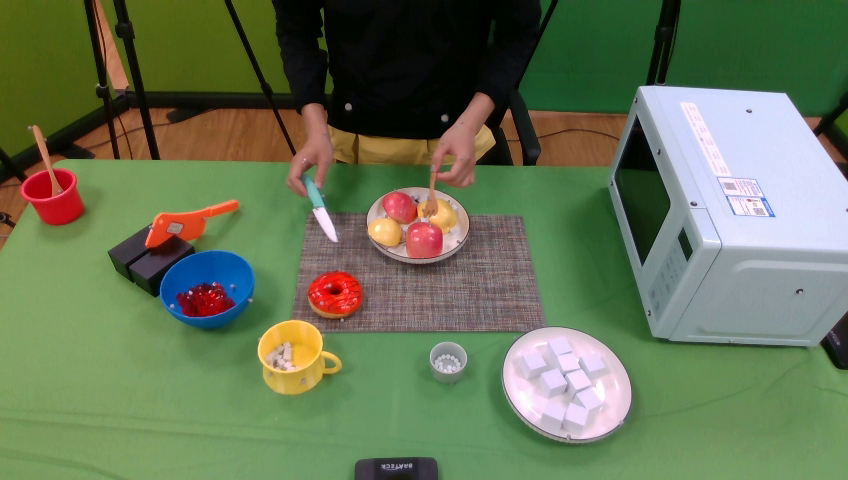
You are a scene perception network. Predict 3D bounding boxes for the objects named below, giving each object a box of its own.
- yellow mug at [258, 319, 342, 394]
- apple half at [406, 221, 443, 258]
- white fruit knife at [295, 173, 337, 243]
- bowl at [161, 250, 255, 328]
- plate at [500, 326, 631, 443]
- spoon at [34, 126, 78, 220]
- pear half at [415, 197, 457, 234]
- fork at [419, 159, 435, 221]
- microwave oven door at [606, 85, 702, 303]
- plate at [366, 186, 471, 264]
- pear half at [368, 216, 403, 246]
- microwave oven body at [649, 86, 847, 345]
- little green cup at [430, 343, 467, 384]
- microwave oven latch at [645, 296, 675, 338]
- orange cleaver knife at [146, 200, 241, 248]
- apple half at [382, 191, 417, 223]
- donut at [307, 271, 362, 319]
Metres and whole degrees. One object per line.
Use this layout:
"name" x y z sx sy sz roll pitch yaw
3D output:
"yellow mug" -0.196 0.189 0.972 0.131 0.064 0.099 9 46 3
"apple half" 0.001 -0.006 1.164 0.075 0.053 0.080 5 42 0
"white fruit knife" -0.203 -0.063 1.152 0.027 0.016 0.206 -30 52 -3
"bowl" -0.362 0.097 1.040 0.151 0.077 0.150 2 45 -2
"plate" 0.224 0.233 0.978 0.208 0.039 0.206 2 46 -2
"spoon" -0.726 -0.132 1.188 0.041 0.021 0.194 -18 95 -20
"pear half" 0.017 -0.065 1.226 0.076 0.056 0.109 -27 51 -32
"fork" 0.009 -0.098 1.131 0.028 0.018 0.206 30 37 -17
"microwave oven door" 0.423 -0.094 1.140 0.039 0.245 0.353 2 46 -1
"plate" -0.013 -0.027 1.207 0.209 0.038 0.208 2 46 -2
"pear half" -0.070 -0.026 1.183 0.070 0.031 0.087 32 46 -2
"microwave oven body" 0.568 -0.053 1.118 0.326 0.261 0.439 2 45 -1
"little green cup" 0.039 0.203 0.993 0.061 0.039 0.061 2 46 -2
"microwave oven latch" 0.412 0.134 1.061 0.030 0.029 0.078 3 45 0
"orange cleaver knife" -0.435 -0.033 1.157 0.012 0.077 0.211 31 26 19
"apple half" -0.043 -0.072 1.224 0.081 0.033 0.081 20 40 -17
"donut" -0.157 0.097 1.073 0.099 0.048 0.098 4 45 -4
